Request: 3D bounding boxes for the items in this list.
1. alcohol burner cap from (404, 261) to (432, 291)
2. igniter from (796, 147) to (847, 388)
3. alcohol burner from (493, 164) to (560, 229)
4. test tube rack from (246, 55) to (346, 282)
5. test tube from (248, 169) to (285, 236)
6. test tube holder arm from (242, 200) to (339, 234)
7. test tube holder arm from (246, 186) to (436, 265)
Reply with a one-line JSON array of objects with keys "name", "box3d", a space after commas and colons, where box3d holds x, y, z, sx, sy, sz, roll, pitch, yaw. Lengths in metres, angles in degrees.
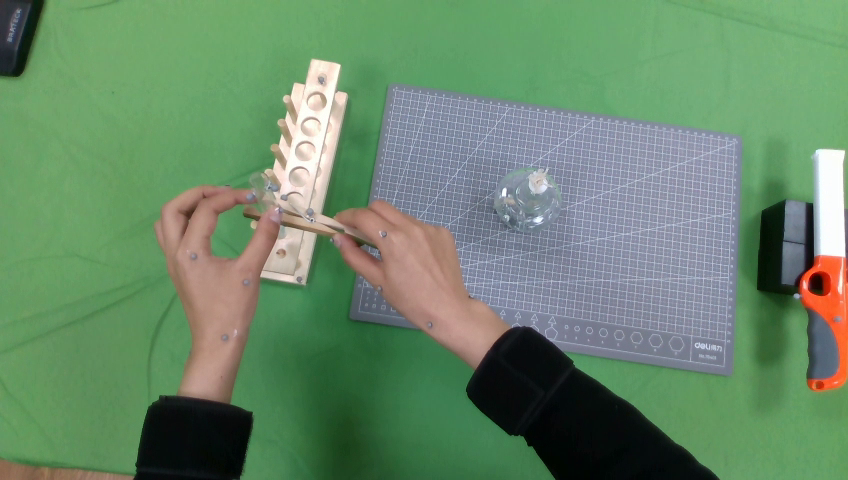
[{"name": "alcohol burner cap", "box3d": [-0.006, 0.039, 0.691, 0.034, 0.048, 0.033, 1, 79, -4]}, {"name": "igniter", "box3d": [0.449, 0.027, 0.678, 0.057, 0.025, 0.275, 6, 78, 11]}, {"name": "alcohol burner", "box3d": [0.118, -0.053, 0.679, 0.078, 0.119, 0.077, 0, 80, -1]}, {"name": "test tube rack", "box3d": [-0.150, -0.081, 0.690, 0.067, 0.085, 0.241, 11, 79, 0]}, {"name": "test tube", "box3d": [-0.139, -0.030, 0.541, 0.017, 0.150, 0.017, 2, 74, -7]}, {"name": "test tube holder arm", "box3d": [-0.118, -0.020, 0.541, 0.088, 0.015, 0.010, 13, 79, -5]}, {"name": "test tube holder arm", "box3d": [-0.073, -0.012, 0.545, 0.179, 0.015, 0.013, 19, 79, -4]}]
